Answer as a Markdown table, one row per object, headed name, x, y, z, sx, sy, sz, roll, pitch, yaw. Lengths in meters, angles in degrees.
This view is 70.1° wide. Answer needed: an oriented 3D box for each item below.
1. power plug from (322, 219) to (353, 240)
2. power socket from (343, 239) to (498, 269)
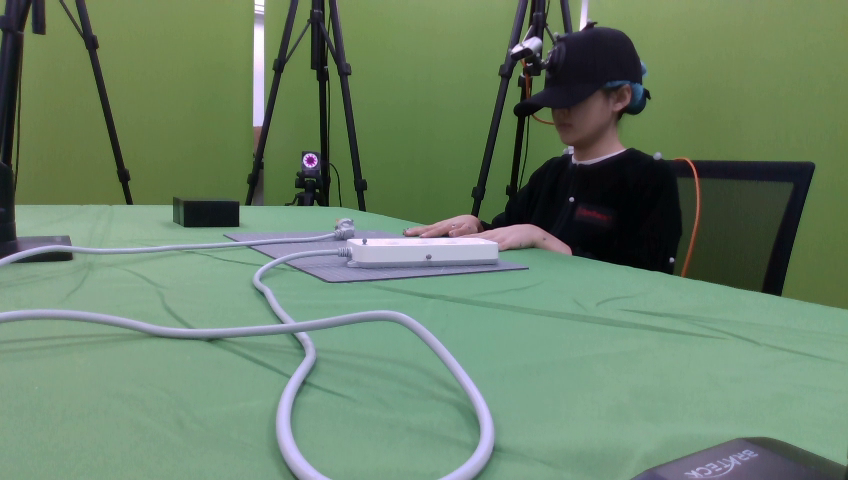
| name | x | y | z | sx | sy | sz | roll | pitch | yaw |
| --- | --- | --- | --- | --- | --- | --- | --- | --- | --- |
| power plug | -0.153 | -0.022 | 1.042 | 0.052 | 0.035 | 0.073 | 31 | 12 | 39 |
| power socket | -0.002 | 0.018 | 0.829 | 0.228 | 0.032 | 0.072 | 0 | 7 | -24 |
